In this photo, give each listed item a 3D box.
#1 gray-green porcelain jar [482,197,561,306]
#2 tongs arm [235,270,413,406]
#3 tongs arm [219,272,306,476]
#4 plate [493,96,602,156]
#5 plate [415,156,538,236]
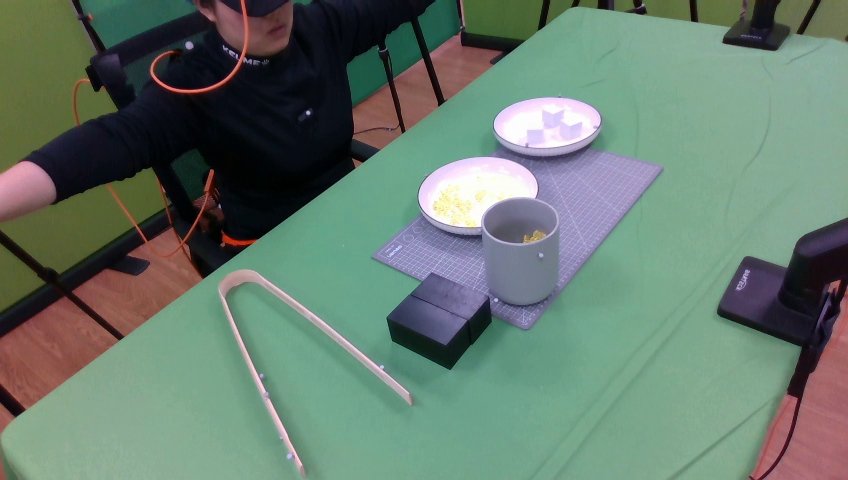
[{"bbox_3d":[0.137,0.020,0.846,0.106,0.127,0.105,-5,40,5],"label":"gray-green porcelain jar"},{"bbox_3d":[-0.153,0.127,0.858,0.384,0.028,0.028,28,55,36],"label":"tongs arm"},{"bbox_3d":[-0.218,0.161,0.822,0.051,0.026,0.381,-26,42,-21],"label":"tongs arm"},{"bbox_3d":[0.238,-0.218,1.179,0.209,0.038,0.208,-4,39,4],"label":"plate"},{"bbox_3d":[0.090,-0.072,1.034,0.207,0.039,0.206,-5,40,5],"label":"plate"}]
